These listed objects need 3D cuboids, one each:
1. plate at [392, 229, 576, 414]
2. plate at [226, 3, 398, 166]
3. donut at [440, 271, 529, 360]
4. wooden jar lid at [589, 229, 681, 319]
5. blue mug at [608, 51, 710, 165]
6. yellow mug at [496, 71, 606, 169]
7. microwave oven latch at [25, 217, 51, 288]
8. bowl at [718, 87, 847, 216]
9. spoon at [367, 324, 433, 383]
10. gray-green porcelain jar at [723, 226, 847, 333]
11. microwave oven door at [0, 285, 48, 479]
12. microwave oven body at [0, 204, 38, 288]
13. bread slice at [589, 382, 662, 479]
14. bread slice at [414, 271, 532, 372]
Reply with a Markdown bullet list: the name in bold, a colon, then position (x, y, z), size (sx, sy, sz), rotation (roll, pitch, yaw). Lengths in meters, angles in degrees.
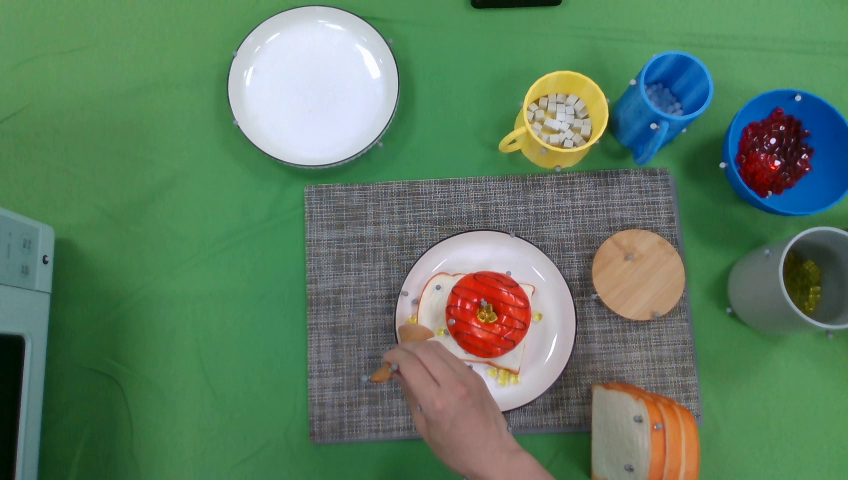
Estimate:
- **plate**: position (0.068, 0.091, 0.696), size (0.209, 0.038, 0.208), rotation (0, 80, -1)
- **plate**: position (-0.135, -0.188, 0.746), size (0.208, 0.039, 0.207), rotation (0, 80, -1)
- **donut**: position (0.067, 0.083, 0.669), size (0.099, 0.048, 0.098), rotation (0, 78, -2)
- **wooden jar lid**: position (0.248, 0.041, 0.717), size (0.108, 0.021, 0.108), rotation (0, 81, -1)
- **blue mug**: position (0.268, -0.144, 0.712), size (0.082, 0.106, 0.116), rotation (17, 80, 3)
- **yellow mug**: position (0.147, -0.137, 0.728), size (0.131, 0.064, 0.099), rotation (-24, 80, -4)
- **microwave oven latch**: position (-0.443, 0.014, 0.684), size (0.030, 0.029, 0.079), rotation (1, 80, -1)
- **bowl**: position (0.413, -0.094, 0.719), size (0.151, 0.077, 0.151), rotation (0, 80, 0)
- **spoon**: position (-0.023, 0.109, 0.589), size (0.041, 0.193, 0.022), rotation (13, 99, 9)
- **gray-green porcelain jar**: position (0.404, 0.049, 0.668), size (0.106, 0.127, 0.105), rotation (0, 79, -1)
- **microwave oven door**: position (-0.437, 0.211, 0.546), size (0.039, 0.244, 0.354), rotation (-2, 79, -1)
- **microwave oven body**: position (-0.584, 0.174, 0.555), size (0.326, 0.261, 0.440), rotation (-2, 80, -2)
- **bread slice**: position (0.206, 0.205, 0.633), size (0.018, 0.134, 0.106), rotation (5, 78, -8)
- **bread slice**: position (0.054, 0.090, 0.697), size (0.131, 0.019, 0.104), rotation (10, 79, -1)
